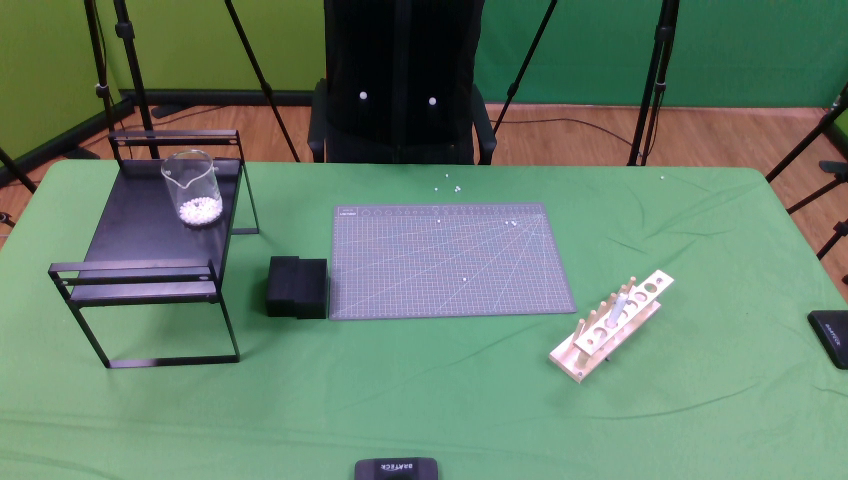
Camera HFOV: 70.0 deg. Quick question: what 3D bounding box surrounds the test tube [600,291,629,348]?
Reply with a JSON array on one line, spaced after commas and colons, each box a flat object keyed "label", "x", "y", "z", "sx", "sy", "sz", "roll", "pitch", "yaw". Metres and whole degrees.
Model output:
[{"label": "test tube", "x": 0.304, "y": 0.131, "z": 0.980, "sx": 0.017, "sy": 0.151, "sz": 0.017, "roll": 1, "pitch": 50, "yaw": 0}]

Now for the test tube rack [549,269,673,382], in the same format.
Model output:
[{"label": "test tube rack", "x": 0.325, "y": 0.134, "z": 1.047, "sx": 0.242, "sy": 0.085, "sz": 0.066, "roll": -32, "pitch": 56, "yaw": -30}]

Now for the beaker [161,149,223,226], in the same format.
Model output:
[{"label": "beaker", "x": -0.357, "y": -0.077, "z": 0.942, "sx": 0.074, "sy": 0.101, "sz": 0.083, "roll": -4, "pitch": 47, "yaw": -7}]
